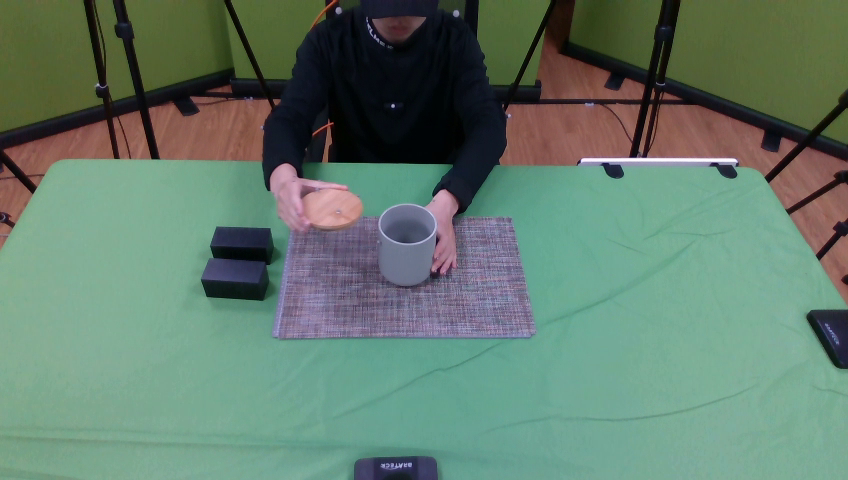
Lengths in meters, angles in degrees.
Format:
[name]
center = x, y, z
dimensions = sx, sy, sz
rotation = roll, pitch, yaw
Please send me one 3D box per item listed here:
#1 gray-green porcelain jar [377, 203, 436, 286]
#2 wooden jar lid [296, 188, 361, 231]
[gray-green porcelain jar]
center = -0.033, 0.014, 1.106
dimensions = 0.106, 0.127, 0.105
rotation = 2, 46, -2
[wooden jar lid]
center = -0.162, -0.050, 1.031
dimensions = 0.108, 0.021, 0.108
rotation = 3, 38, -2
